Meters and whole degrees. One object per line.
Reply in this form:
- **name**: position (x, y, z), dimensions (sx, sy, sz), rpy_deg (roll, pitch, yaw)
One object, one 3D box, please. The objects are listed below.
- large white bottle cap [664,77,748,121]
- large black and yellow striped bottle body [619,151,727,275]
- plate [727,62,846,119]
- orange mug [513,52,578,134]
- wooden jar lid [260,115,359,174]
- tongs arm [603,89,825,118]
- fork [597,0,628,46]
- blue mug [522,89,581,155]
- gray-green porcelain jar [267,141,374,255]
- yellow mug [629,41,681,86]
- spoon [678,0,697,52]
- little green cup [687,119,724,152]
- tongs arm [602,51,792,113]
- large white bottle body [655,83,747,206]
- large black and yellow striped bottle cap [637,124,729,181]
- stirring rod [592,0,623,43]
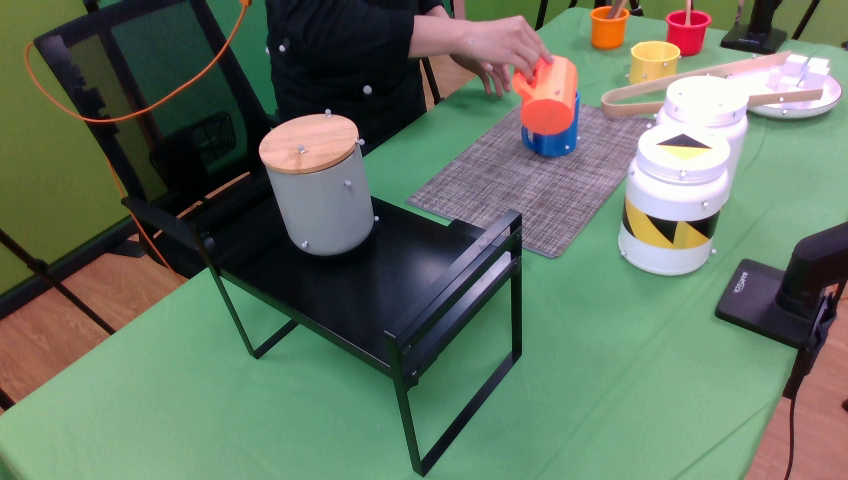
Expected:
- **large white bottle cap**: position (0.421, -0.212, 0.905), dimensions (0.115, 0.018, 0.114), rpy_deg (-4, 40, 4)
- **large black and yellow striped bottle body**: position (0.354, -0.056, 0.865), dimensions (0.131, 0.185, 0.130), rpy_deg (-4, 41, 4)
- **plate**: position (0.709, -0.292, 1.197), dimensions (0.207, 0.039, 0.206), rpy_deg (-4, 40, 4)
- **orange mug**: position (0.197, -0.252, 1.005), dimensions (0.083, 0.127, 0.100), rpy_deg (-22, 42, 46)
- **wooden jar lid**: position (-0.124, -0.101, 0.662), dimensions (0.108, 0.021, 0.108), rpy_deg (-4, 41, 4)
- **tongs arm**: position (0.546, -0.262, 1.163), dimensions (0.386, 0.028, 0.028), rpy_deg (-1, 49, 18)
- **fork**: position (0.479, -0.558, 1.455), dimensions (0.028, 0.019, 0.207), rpy_deg (35, 100, 38)
- **blue mug**: position (0.233, -0.218, 1.127), dimensions (0.117, 0.106, 0.081), rpy_deg (-22, 43, -16)
- **gray-green porcelain jar**: position (-0.117, -0.054, 0.703), dimensions (0.106, 0.127, 0.105), rpy_deg (-4, 40, 4)
- **yellow mug**: position (0.495, -0.389, 1.321), dimensions (0.100, 0.064, 0.130), rpy_deg (-14, 40, -6)
- **spoon**: position (0.614, -0.526, 1.402), dimensions (0.041, 0.022, 0.193), rpy_deg (3, 86, 11)
- **little green cup**: position (0.513, -0.191, 1.109), dimensions (0.061, 0.039, 0.061), rpy_deg (-5, 40, 5)
- **tongs arm**: position (0.552, -0.320, 1.224), dimensions (0.384, 0.027, 0.050), rpy_deg (-10, 43, 7)
- **large white bottle body**: position (0.430, -0.148, 0.959), dimensions (0.130, 0.185, 0.130), rpy_deg (-4, 41, 4)
- **large black and yellow striped bottle cap**: position (0.346, -0.119, 0.810), dimensions (0.115, 0.019, 0.114), rpy_deg (-5, 41, 5)
- **stirring rod**: position (0.460, -0.557, 1.461), dimensions (0.014, 0.176, 0.006), rpy_deg (35, 11, 22)
